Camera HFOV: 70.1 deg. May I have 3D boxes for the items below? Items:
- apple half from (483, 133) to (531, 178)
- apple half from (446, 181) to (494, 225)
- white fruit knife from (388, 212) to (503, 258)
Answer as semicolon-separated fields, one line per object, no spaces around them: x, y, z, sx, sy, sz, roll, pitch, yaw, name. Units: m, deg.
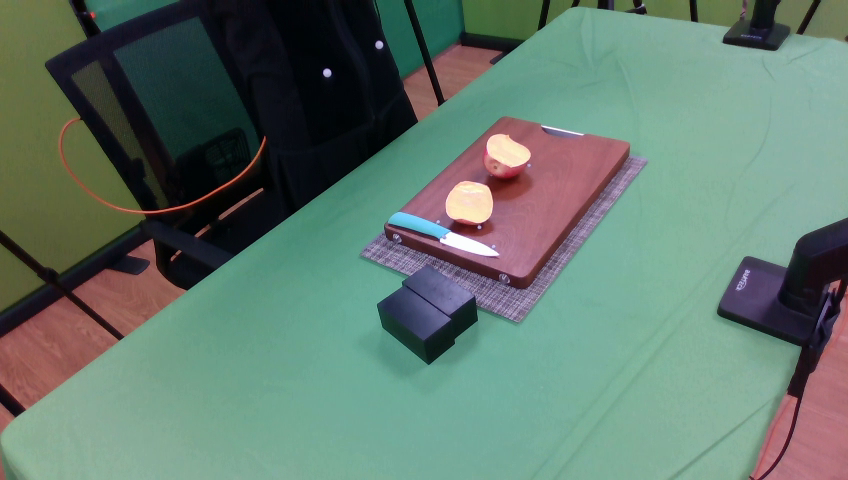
0.138;-0.139;1.050;0.080;0.053;0.075;30;47;8;apple half
0.076;-0.056;0.976;0.081;0.033;0.081;-3;66;6;apple half
0.032;-0.008;0.950;0.206;0.016;0.027;20;77;28;white fruit knife
